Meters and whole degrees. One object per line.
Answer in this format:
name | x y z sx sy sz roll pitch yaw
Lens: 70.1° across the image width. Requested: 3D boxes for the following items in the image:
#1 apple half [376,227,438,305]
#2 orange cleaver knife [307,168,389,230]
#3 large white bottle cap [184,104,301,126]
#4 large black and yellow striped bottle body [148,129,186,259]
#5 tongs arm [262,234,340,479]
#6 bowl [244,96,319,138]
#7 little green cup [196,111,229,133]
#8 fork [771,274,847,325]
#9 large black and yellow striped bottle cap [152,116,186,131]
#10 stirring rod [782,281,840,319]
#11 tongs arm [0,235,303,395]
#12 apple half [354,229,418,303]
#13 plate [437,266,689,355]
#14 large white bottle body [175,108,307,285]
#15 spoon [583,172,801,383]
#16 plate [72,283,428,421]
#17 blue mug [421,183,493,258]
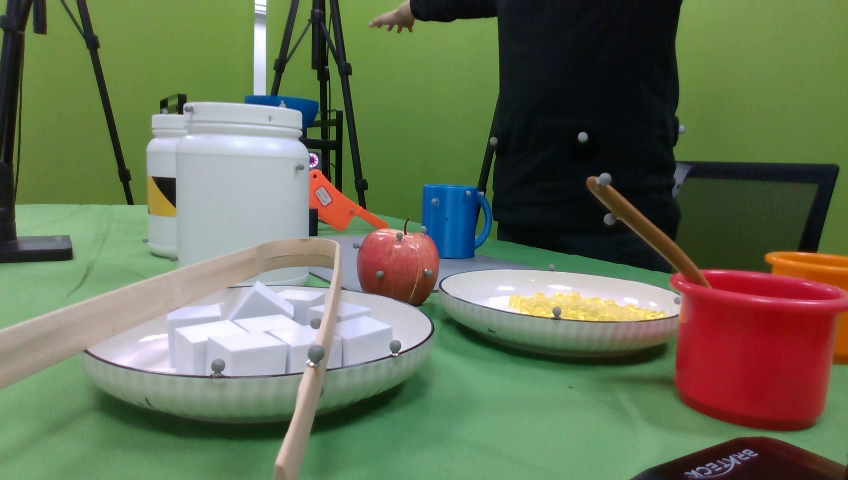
apple half | -0.017 0.025 0.593 0.080 0.074 0.053 4 2 43
orange cleaver knife | -0.158 -0.060 1.166 0.212 0.077 0.012 34 -12 -32
large white bottle cap | -0.184 -0.126 0.618 0.115 0.018 0.115 2 8 0
large black and yellow striped bottle body | -0.310 -0.073 0.838 0.131 0.184 0.130 2 8 0
tongs arm | -0.074 0.039 0.349 0.051 0.026 0.384 -2 10 -3
bowl | -0.295 -0.252 1.254 0.151 0.077 0.151 2 7 0
little green cup | -0.403 -0.225 1.154 0.061 0.038 0.061 3 8 0
fork | 0.332 0.018 0.443 0.028 0.018 0.207 -1 -36 -15
large black and yellow striped bottle cap | -0.309 -0.155 0.826 0.115 0.019 0.115 3 6 0
stirring rod | 0.345 0.019 0.461 0.014 0.006 0.176 -13 -27 -30
tongs arm | -0.157 0.038 0.351 0.028 0.028 0.388 -3 9 12
apple half | -0.044 0.027 0.564 0.081 0.081 0.033 9 5 42
plate | 0.114 0.057 0.518 0.209 0.038 0.209 3 7 0
large white bottle body | -0.188 -0.042 0.630 0.131 0.184 0.130 2 8 0
spoon | 0.159 0.025 0.358 0.194 0.021 0.041 46 -3 -14
plate | -0.102 0.066 0.381 0.208 0.039 0.207 2 7 0
blue mug | 0.052 -0.032 0.912 0.117 0.106 0.082 -1 8 -24
